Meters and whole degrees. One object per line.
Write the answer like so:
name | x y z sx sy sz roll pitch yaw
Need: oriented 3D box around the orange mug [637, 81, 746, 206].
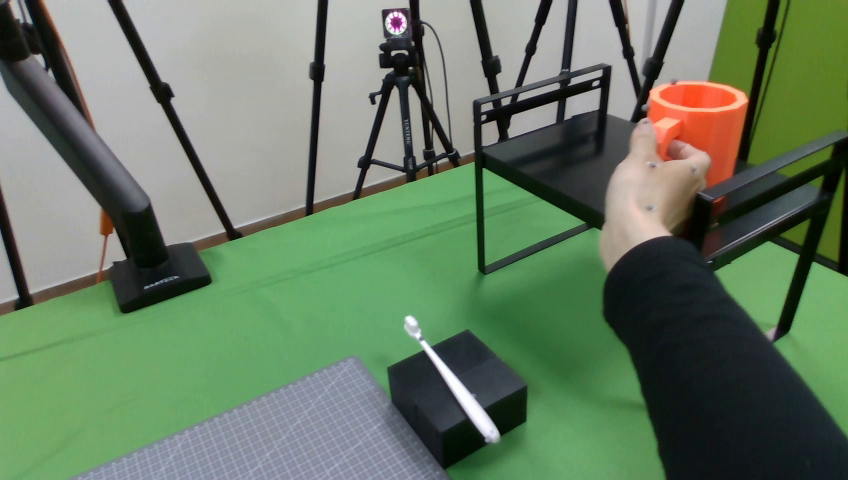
orange mug | 0.245 -0.090 0.581 0.126 0.101 0.082 -26 38 -38

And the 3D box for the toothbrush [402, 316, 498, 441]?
toothbrush | 0.020 0.127 0.585 0.014 0.017 0.180 -15 34 -22
